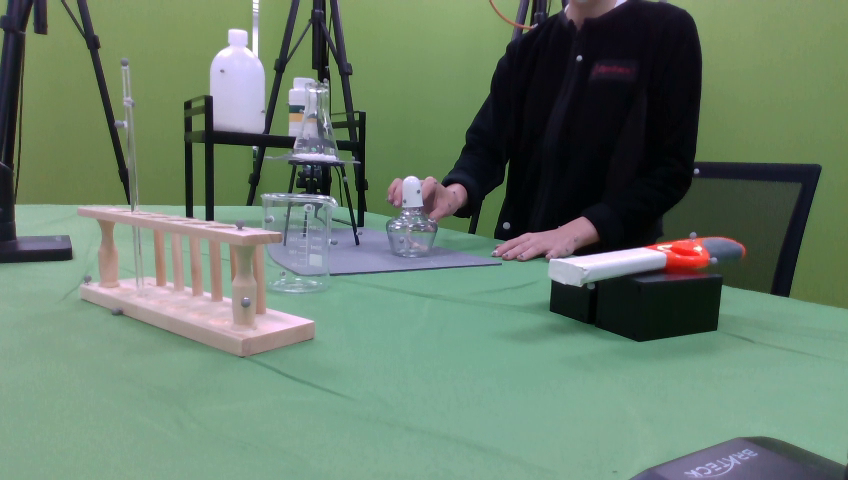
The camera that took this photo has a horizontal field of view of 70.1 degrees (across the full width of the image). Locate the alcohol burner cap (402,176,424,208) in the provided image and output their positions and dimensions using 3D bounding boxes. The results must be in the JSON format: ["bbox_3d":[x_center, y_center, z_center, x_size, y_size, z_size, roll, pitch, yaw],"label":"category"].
[{"bbox_3d":[-0.017,-0.069,0.878,0.034,0.048,0.034,-5,8,1],"label":"alcohol burner cap"}]

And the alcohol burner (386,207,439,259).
[{"bbox_3d":[-0.017,-0.034,0.884,0.078,0.119,0.078,1,6,0],"label":"alcohol burner"}]

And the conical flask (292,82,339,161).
[{"bbox_3d":[-0.171,-0.185,0.957,0.075,0.122,0.075,2,7,0],"label":"conical flask"}]

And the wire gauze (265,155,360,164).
[{"bbox_3d":[-0.181,-0.128,0.969,0.126,0.011,0.121,-3,7,-26],"label":"wire gauze"}]

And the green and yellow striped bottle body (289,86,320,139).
[{"bbox_3d":[-0.250,-0.272,1.261,0.063,0.119,0.063,3,7,0],"label":"green and yellow striped bottle body"}]

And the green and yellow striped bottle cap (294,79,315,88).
[{"bbox_3d":[-0.248,-0.323,1.256,0.045,0.020,0.045,3,9,0],"label":"green and yellow striped bottle cap"}]

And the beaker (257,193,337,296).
[{"bbox_3d":[-0.130,0.004,0.628,0.084,0.100,0.074,5,8,15],"label":"beaker"}]

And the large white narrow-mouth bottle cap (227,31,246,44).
[{"bbox_3d":[-0.361,-0.388,1.165,0.038,0.024,0.037,1,7,0],"label":"large white narrow-mouth bottle cap"}]

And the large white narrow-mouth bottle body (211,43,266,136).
[{"bbox_3d":[-0.361,-0.302,1.176,0.102,0.194,0.102,1,7,0],"label":"large white narrow-mouth bottle body"}]

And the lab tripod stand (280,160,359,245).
[{"bbox_3d":[-0.176,-0.062,0.973,0.148,0.131,0.148,1,7,0],"label":"lab tripod stand"}]

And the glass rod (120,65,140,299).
[{"bbox_3d":[-0.249,-0.047,0.513,0.008,0.199,0.008,-1,4,0],"label":"glass rod"}]

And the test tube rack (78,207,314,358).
[{"bbox_3d":[-0.196,0.024,0.500,0.241,0.085,0.067,8,8,37],"label":"test tube rack"}]

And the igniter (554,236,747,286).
[{"bbox_3d":[0.221,0.017,0.558,0.278,0.025,0.057,-5,14,-39],"label":"igniter"}]
